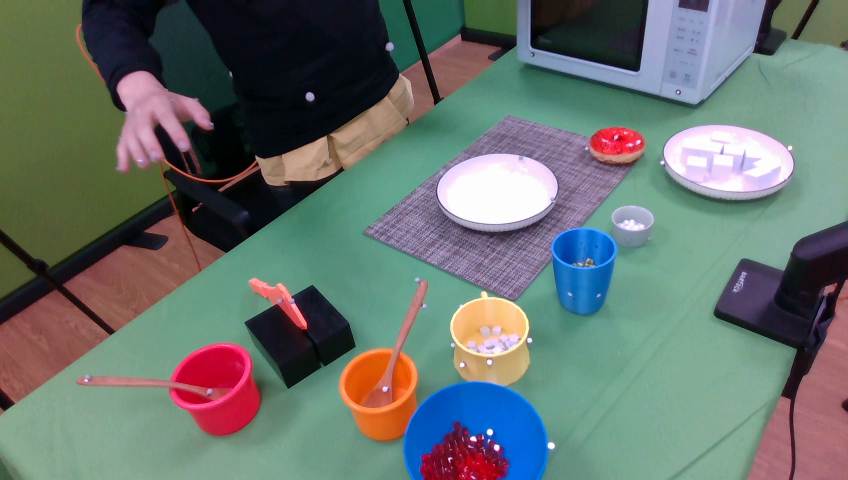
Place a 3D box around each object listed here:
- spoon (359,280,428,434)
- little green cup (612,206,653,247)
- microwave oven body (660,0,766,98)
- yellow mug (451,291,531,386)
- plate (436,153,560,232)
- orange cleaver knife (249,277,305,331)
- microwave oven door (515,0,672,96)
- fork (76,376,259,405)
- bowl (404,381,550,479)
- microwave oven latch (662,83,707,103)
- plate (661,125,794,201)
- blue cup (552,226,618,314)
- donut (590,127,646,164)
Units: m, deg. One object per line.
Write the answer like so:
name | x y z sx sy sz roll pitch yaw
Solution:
spoon | -0.032 0.138 0.719 0.041 0.193 0.022 22 4 30
little green cup | 0.321 -0.019 0.936 0.061 0.039 0.061 -4 41 4
microwave oven body | 0.472 -0.513 1.317 0.438 0.261 0.327 26 51 34
yellow mug | 0.085 0.120 0.786 0.100 0.064 0.130 -7 39 1
plate | 0.125 -0.078 1.029 0.209 0.038 0.208 -4 40 4
orange cleaver knife | -0.210 0.088 0.856 0.012 0.077 0.210 -28 15 -24
microwave oven door | 0.343 -0.455 1.259 0.353 0.245 0.039 26 51 33
fork | -0.295 0.176 0.716 0.209 0.018 0.028 19 27 -37
bowl | 0.058 0.235 0.645 0.151 0.077 0.150 -4 39 4
microwave oven latch | 0.517 -0.296 1.204 0.078 0.029 0.030 27 52 35
plate | 0.513 -0.128 1.035 0.207 0.039 0.206 -4 40 4
blue cup | 0.217 0.047 0.825 0.092 0.100 0.092 -6 40 5
donut | 0.353 -0.174 1.103 0.099 0.048 0.098 -4 38 4
